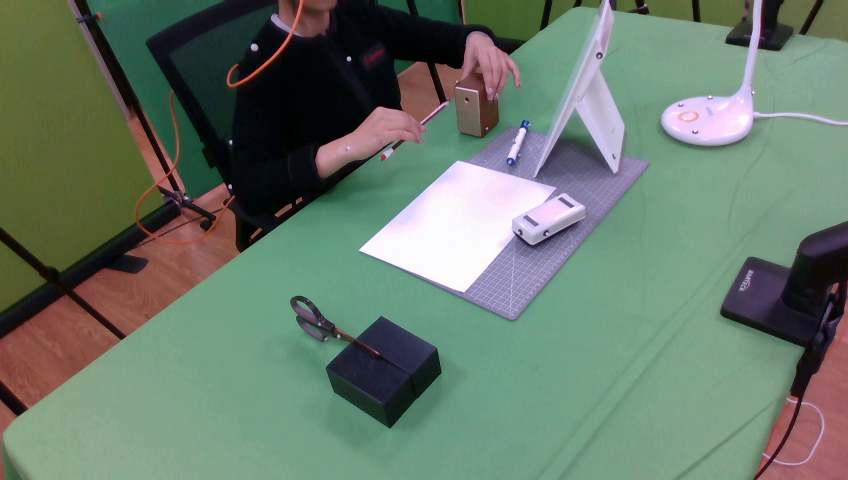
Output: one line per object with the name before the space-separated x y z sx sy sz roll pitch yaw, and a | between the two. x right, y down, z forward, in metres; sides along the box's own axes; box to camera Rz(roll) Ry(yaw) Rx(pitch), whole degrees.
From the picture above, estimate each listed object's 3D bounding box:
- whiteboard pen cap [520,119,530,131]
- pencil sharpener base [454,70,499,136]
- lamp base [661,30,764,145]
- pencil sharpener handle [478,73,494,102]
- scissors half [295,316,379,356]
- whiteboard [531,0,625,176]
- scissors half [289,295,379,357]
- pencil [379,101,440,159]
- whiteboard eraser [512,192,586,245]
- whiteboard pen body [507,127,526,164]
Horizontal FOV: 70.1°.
whiteboard pen cap | 0.200 -0.226 1.204 0.018 0.018 0.033 7 42 18
pencil sharpener base | 0.108 -0.277 1.219 0.061 0.107 0.077 18 46 30
lamp base | 0.535 -0.287 1.096 0.179 0.181 0.159 -10 40 -4
pencil sharpener handle | 0.132 -0.317 1.244 0.036 0.068 0.031 27 50 20
scissors half | -0.119 0.131 0.813 0.173 0.040 0.013 9 34 45
whiteboard | 0.320 -0.258 1.050 0.144 0.306 0.217 22 45 5
scissors half | -0.122 0.114 0.803 0.174 0.040 0.013 26 50 32
pencil | -0.023 -0.205 1.106 0.012 0.012 0.194 19 52 29
whiteboard eraser | 0.199 -0.032 0.962 0.113 0.042 0.055 -27 42 -20
whiteboard pen body | 0.181 -0.189 1.162 0.017 0.017 0.140 8 42 19
